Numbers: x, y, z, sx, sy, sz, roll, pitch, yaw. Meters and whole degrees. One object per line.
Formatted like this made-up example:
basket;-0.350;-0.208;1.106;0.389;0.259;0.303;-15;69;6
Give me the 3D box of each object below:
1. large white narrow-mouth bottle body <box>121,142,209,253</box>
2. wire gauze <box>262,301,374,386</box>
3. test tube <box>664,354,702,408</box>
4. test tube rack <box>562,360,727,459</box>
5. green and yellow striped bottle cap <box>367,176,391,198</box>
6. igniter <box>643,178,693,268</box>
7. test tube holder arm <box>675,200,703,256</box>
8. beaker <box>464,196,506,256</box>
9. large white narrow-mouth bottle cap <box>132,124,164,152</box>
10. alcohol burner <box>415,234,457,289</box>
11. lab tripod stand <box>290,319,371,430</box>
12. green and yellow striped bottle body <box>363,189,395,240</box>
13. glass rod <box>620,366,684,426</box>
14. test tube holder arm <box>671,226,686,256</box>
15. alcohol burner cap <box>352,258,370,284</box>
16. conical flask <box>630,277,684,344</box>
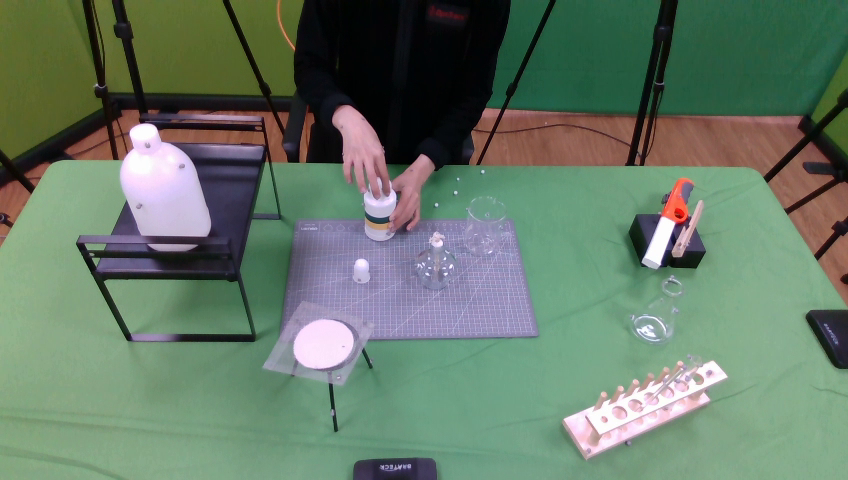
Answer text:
large white narrow-mouth bottle body;-0.378;-0.077;0.875;0.102;0.195;0.101;3;46;-3
wire gauze;-0.150;0.148;0.873;0.121;0.011;0.124;14;46;12
test tube;0.385;0.215;0.906;0.017;0.151;0.017;-1;49;1
test tube rack;0.341;0.247;0.940;0.243;0.085;0.066;-16;49;-18
green and yellow striped bottle cap;-0.085;-0.100;1.136;0.045;0.020;0.045;3;46;-3
igniter;0.488;-0.042;1.205;0.057;0.025;0.276;30;51;11
test tube holder arm;0.523;-0.025;1.190;0.013;0.015;0.178;0;36;41
beaker;0.117;-0.026;1.174;0.074;0.101;0.083;21;48;15
large white narrow-mouth bottle cap;-0.370;-0.137;0.812;0.038;0.024;0.037;3;46;-3
alcohol burner;0.022;0.033;1.099;0.078;0.120;0.077;1;47;-1
lab tripod stand;-0.146;0.194;0.923;0.148;0.132;0.147;1;47;-1
green and yellow striped bottle body;-0.087;-0.061;1.177;0.063;0.120;0.063;2;46;-2
glass rod;0.322;0.227;0.866;0.008;0.200;0.008;5;51;-7
test tube holder arm;0.494;0.001;1.167;0.010;0.015;0.087;1;36;42
alcohol burner cap;-0.117;0.055;1.118;0.034;0.048;0.033;2;46;-2
conical flask;0.408;0.117;1.045;0.075;0.122;0.075;2;46;-2
